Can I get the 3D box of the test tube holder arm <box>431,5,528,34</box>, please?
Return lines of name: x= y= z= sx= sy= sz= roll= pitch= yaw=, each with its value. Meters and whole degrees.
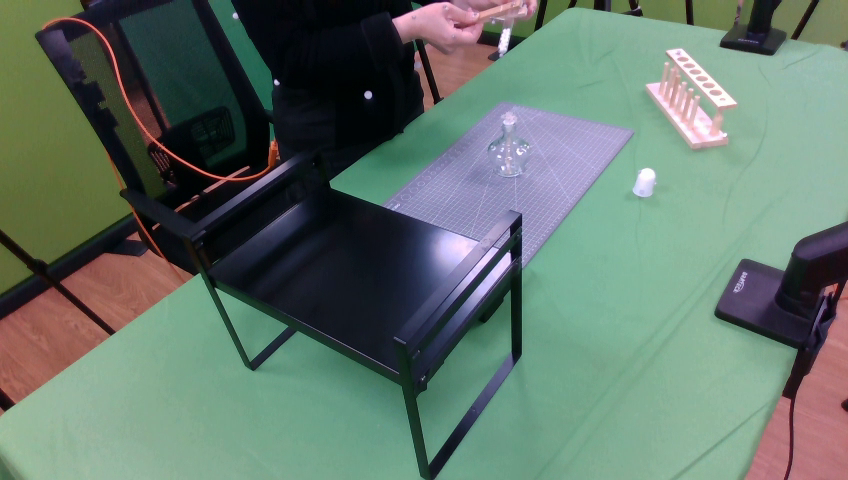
test tube holder arm: x=0.089 y=-0.368 z=1.014 sx=0.177 sy=0.013 sz=0.015 roll=-1 pitch=57 yaw=34

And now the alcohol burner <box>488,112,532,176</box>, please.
alcohol burner: x=0.155 y=-0.176 z=1.083 sx=0.078 sy=0.119 sz=0.077 roll=-3 pitch=41 yaw=3

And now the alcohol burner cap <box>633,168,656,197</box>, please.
alcohol burner cap: x=0.374 y=-0.099 z=1.018 sx=0.034 sy=0.048 sz=0.033 roll=0 pitch=42 yaw=1

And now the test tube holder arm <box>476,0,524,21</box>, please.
test tube holder arm: x=0.122 y=-0.372 z=0.984 sx=0.087 sy=0.010 sz=0.015 roll=-6 pitch=55 yaw=40

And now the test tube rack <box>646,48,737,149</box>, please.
test tube rack: x=0.511 y=-0.280 z=1.175 sx=0.067 sy=0.085 sz=0.241 roll=-8 pitch=41 yaw=1

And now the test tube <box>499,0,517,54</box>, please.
test tube: x=0.141 y=-0.367 z=0.972 sx=0.017 sy=0.017 sz=0.150 roll=10 pitch=78 yaw=19
